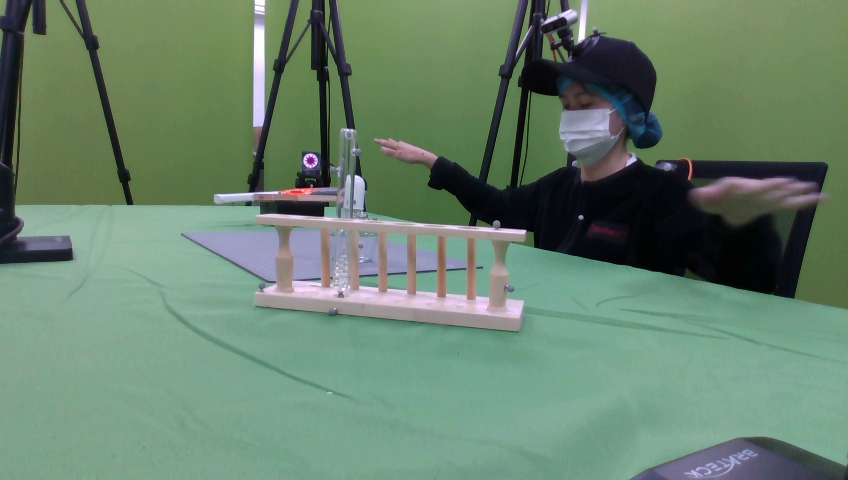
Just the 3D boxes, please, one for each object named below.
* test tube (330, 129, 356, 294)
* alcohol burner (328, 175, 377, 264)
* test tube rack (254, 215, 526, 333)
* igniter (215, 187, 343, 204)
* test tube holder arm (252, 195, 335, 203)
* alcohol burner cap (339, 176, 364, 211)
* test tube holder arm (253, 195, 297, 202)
[{"bbox_3d":[-0.074,-0.025,0.548,0.017,0.150,0.017,4,6,0],"label":"test tube"},{"bbox_3d":[-0.098,-0.028,0.819,0.078,0.119,0.078,1,8,0],"label":"alcohol burner"},{"bbox_3d":[-0.030,0.025,0.557,0.242,0.085,0.067,4,7,12],"label":"test tube rack"},{"bbox_3d":[-0.290,-0.093,1.256,0.278,0.025,0.057,-6,11,-34],"label":"igniter"},{"bbox_3d":[-0.262,-0.084,1.227,0.179,0.015,0.013,-4,7,-39],"label":"test tube holder arm"},{"bbox_3d":[-0.096,-0.063,0.814,0.034,0.048,0.034,7,7,0],"label":"alcohol burner cap"},{"bbox_3d":[-0.294,-0.082,1.194,0.088,0.015,0.010,-4,7,-38],"label":"test tube holder arm"}]
